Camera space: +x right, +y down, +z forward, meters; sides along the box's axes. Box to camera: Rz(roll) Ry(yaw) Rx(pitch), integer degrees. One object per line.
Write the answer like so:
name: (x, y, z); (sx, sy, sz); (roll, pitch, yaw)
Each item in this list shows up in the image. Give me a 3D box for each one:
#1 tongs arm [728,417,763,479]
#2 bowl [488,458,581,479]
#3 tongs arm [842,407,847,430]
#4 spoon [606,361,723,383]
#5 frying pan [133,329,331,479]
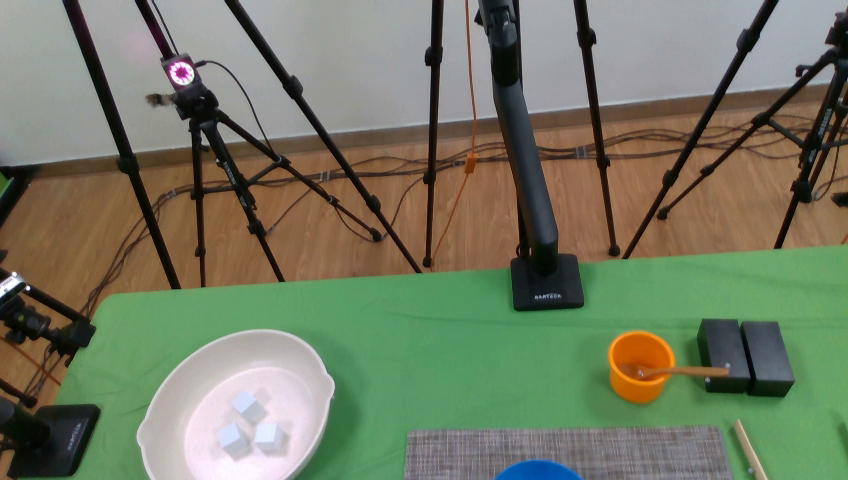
tongs arm: (0.464, 0.394, 0.731); (0.028, 0.028, 0.383); (-10, 48, -1)
bowl: (0.144, 0.366, 0.776); (0.151, 0.077, 0.150); (-5, 49, 6)
tongs arm: (0.544, 0.383, 0.719); (0.050, 0.027, 0.381); (-3, 50, 10)
spoon: (0.334, 0.185, 0.856); (0.022, 0.193, 0.041); (50, 61, -7)
frying pan: (-0.271, 0.341, 0.864); (0.307, 0.104, 0.482); (-14, 40, 0)
